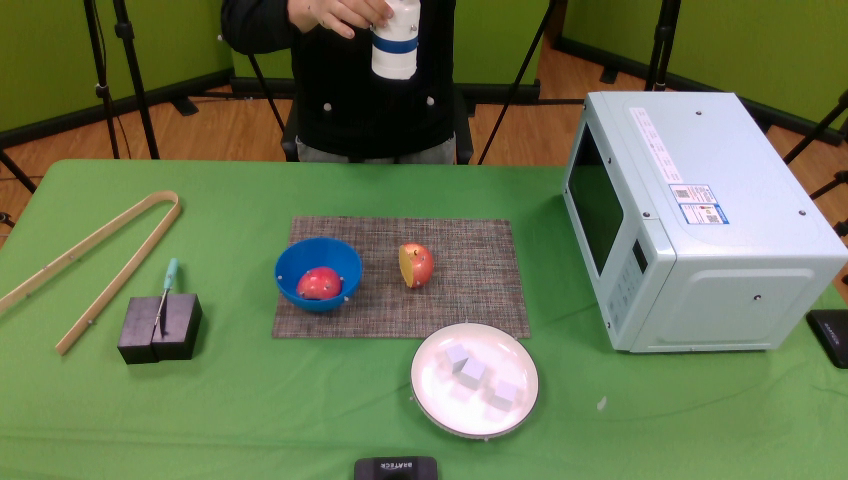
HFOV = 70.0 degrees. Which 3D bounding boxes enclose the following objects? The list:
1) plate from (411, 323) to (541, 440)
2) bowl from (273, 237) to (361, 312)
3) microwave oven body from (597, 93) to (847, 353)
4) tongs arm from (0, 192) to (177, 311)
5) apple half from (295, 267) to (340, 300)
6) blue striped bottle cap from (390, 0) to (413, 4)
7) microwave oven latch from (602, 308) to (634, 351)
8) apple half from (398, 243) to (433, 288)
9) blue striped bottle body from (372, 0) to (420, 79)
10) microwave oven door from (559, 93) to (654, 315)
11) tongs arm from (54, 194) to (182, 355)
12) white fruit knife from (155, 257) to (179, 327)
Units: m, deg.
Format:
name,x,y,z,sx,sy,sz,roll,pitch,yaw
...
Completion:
name,x,y,z,sx,sy,sz,roll,pitch,yaw
plate,0.082,0.228,0.976,0.208,0.039,0.206,2,45,-2
bowl,-0.186,0.074,1.069,0.151,0.077,0.150,3,46,-3
microwave oven body,0.475,-0.041,1.110,0.326,0.261,0.438,-1,45,-4
tongs arm,-0.618,0.019,1.124,0.050,0.026,0.384,24,47,16
apple half,-0.187,0.070,1.067,0.081,0.033,0.081,3,47,-3
blue striped bottle cap,-0.034,-0.326,0.788,0.044,0.021,0.044,2,42,-2
microwave oven latch,0.332,0.153,1.044,0.030,0.029,0.078,-1,45,-4
apple half,-0.012,0.046,1.115,0.053,0.075,0.080,-11,44,-19
blue striped bottle body,-0.039,-0.286,0.822,0.063,0.121,0.062,4,40,-3
microwave oven door,0.327,-0.074,1.123,0.039,0.245,0.353,-1,46,-5
tongs arm,-0.544,0.049,1.108,0.028,0.028,0.385,11,46,9
white fruit knife,-0.440,0.085,1.037,0.016,0.027,0.206,10,26,-19
